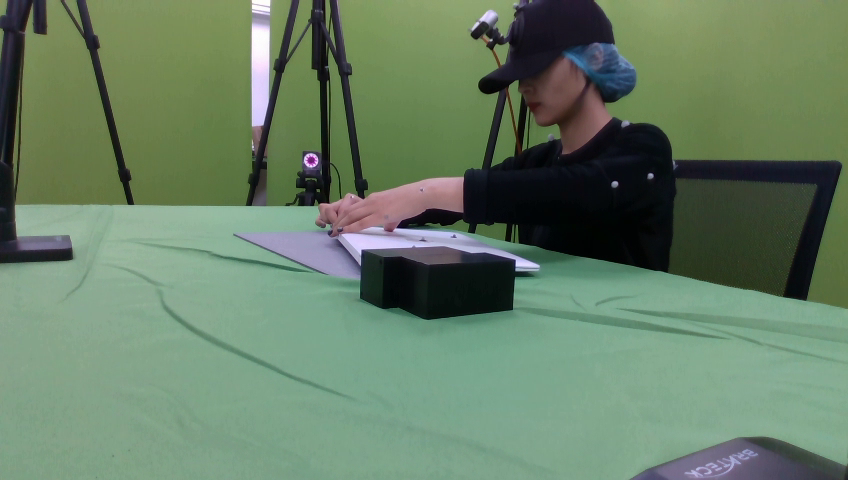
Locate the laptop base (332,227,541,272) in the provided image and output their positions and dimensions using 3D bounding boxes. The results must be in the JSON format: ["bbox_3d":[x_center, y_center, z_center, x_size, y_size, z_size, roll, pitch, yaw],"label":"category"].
[{"bbox_3d":[-0.004,0.015,0.904,0.236,0.023,0.353,5,6,-15],"label":"laptop base"}]

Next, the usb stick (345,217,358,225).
[{"bbox_3d":[-0.128,-0.025,1.070,0.021,0.027,0.059,2,9,-10],"label":"usb stick"}]

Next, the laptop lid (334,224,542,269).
[{"bbox_3d":[-0.001,0.004,0.903,0.242,0.013,0.355,4,7,-13],"label":"laptop lid"}]
